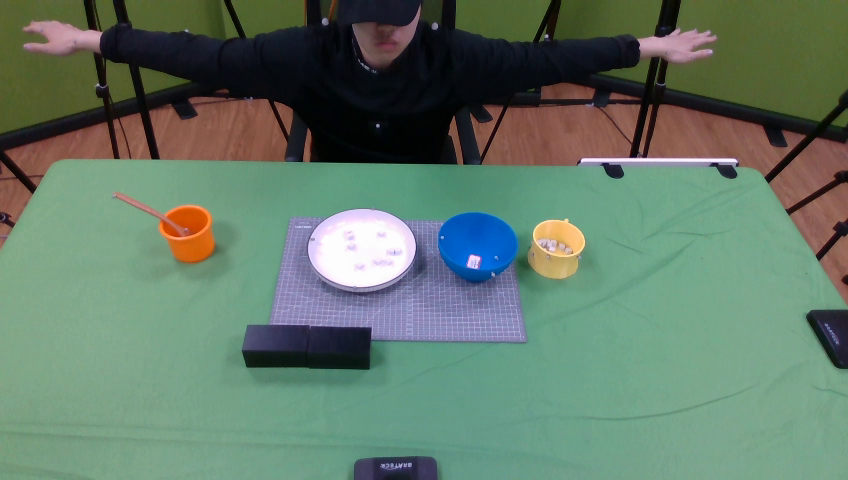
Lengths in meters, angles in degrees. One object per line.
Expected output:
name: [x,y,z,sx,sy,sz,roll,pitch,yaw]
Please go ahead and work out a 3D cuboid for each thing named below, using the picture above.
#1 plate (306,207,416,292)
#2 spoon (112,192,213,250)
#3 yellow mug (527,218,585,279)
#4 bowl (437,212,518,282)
plate: [-0.119,0.021,1.153,0.209,0.038,0.208,2,46,-2]
spoon: [-0.475,-0.036,1.108,0.021,0.195,0.041,-34,35,25]
yellow mug: [0.261,0.006,1.181,0.100,0.064,0.130,18,47,14]
bowl: [0.096,0.025,1.138,0.151,0.077,0.150,3,46,-2]
